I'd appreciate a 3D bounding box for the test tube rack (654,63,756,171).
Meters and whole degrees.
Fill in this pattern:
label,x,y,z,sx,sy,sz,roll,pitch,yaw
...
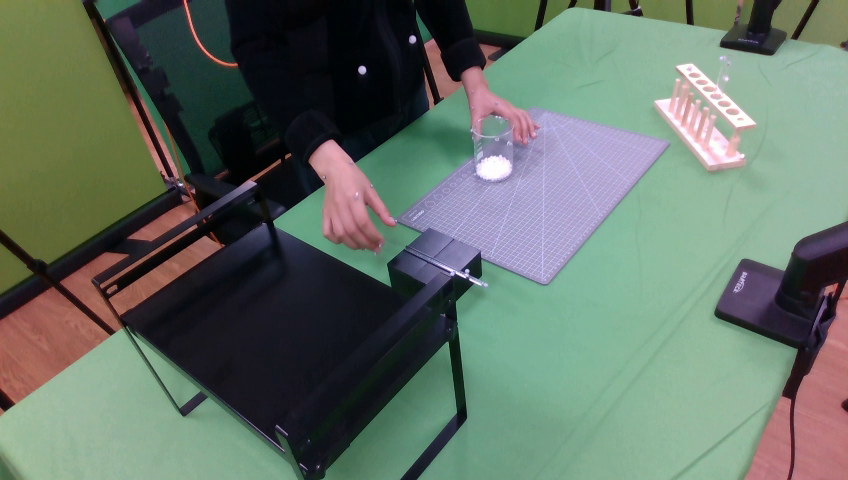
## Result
label,x,y,z,sx,sy,sz,roll,pitch,yaw
test tube rack,0.510,-0.233,1.120,0.067,0.085,0.241,-8,41,-1

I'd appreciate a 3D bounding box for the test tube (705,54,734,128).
label,x,y,z,sx,sy,sz,roll,pitch,yaw
test tube,0.523,-0.260,1.073,0.017,0.151,0.017,-4,46,4

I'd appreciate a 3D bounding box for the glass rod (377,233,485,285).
label,x,y,z,sx,sy,sz,roll,pitch,yaw
glass rod,0.005,0.025,0.877,0.198,0.008,0.008,24,50,31

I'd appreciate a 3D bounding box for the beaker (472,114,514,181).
label,x,y,z,sx,sy,sz,roll,pitch,yaw
beaker,0.127,-0.165,1.084,0.073,0.101,0.084,15,45,24
